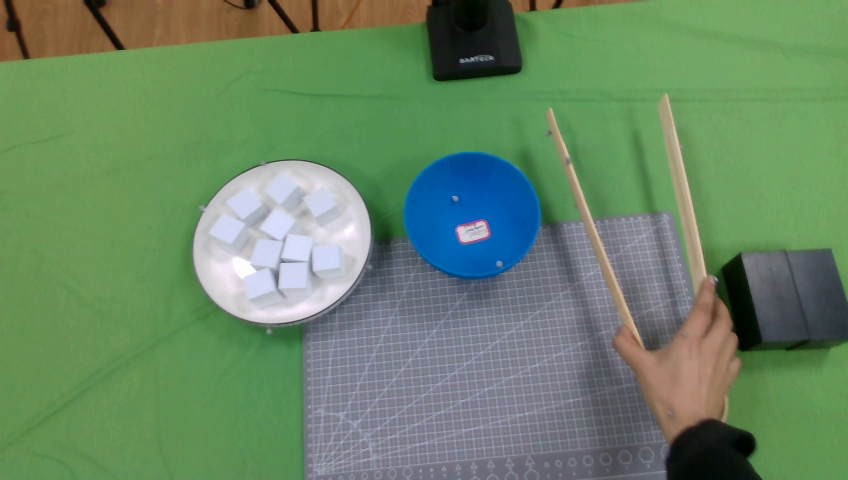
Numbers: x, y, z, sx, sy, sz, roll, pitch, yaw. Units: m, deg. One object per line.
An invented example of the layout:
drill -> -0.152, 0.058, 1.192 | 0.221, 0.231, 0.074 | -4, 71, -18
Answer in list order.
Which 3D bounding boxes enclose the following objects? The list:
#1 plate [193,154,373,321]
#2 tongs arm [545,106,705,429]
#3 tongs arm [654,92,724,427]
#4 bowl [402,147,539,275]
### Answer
plate -> -0.162, -0.003, 0.713 | 0.207, 0.039, 0.206 | -1, 69, 2
tongs arm -> 0.212, 0.017, 0.665 | 0.051, 0.026, 0.382 | -11, 71, -8
tongs arm -> 0.287, 0.006, 0.672 | 0.028, 0.028, 0.385 | 1, 71, -7
bowl -> 0.052, -0.022, 0.692 | 0.151, 0.077, 0.150 | 0, 69, 1
